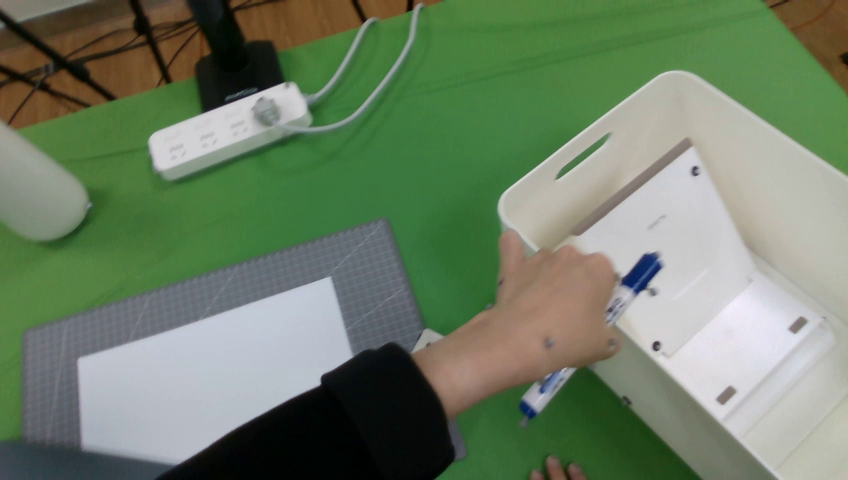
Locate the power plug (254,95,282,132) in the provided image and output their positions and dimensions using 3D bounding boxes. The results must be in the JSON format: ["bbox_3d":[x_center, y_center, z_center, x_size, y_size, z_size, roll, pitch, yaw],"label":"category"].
[{"bbox_3d":[-0.200,-0.155,0.786,0.035,0.053,0.072,-13,67,-1],"label":"power plug"}]

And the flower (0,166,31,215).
[{"bbox_3d":[-0.474,-0.120,0.634,0.038,0.363,0.044,30,58,2],"label":"flower"}]

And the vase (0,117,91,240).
[{"bbox_3d":[-0.487,-0.081,0.708,0.098,0.202,0.097,-3,61,7],"label":"vase"}]

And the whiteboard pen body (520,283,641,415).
[{"bbox_3d":[0.118,0.067,0.428,0.017,0.017,0.140,39,79,24],"label":"whiteboard pen body"}]

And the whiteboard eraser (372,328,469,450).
[{"bbox_3d":[-0.003,0.150,0.613,0.055,0.042,0.112,23,66,19],"label":"whiteboard eraser"}]

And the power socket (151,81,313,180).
[{"bbox_3d":[-0.256,-0.148,0.814,0.227,0.033,0.071,-22,62,-7],"label":"power socket"}]

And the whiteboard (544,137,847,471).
[{"bbox_3d":[0.271,0.043,0.587,0.217,0.145,0.302,-37,63,-16],"label":"whiteboard"}]

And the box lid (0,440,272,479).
[{"bbox_3d":[-0.309,0.340,0.565,0.371,0.015,0.261,5,63,9],"label":"box lid"}]

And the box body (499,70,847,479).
[{"bbox_3d":[0.275,0.048,0.571,0.254,0.162,0.361,-37,64,-14],"label":"box body"}]

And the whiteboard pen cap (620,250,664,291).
[{"bbox_3d":[0.157,0.024,0.439,0.018,0.018,0.033,38,80,24],"label":"whiteboard pen cap"}]
